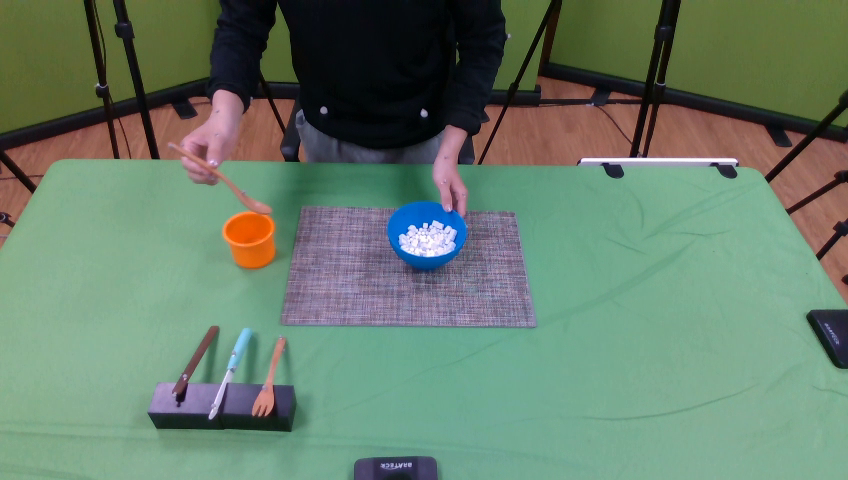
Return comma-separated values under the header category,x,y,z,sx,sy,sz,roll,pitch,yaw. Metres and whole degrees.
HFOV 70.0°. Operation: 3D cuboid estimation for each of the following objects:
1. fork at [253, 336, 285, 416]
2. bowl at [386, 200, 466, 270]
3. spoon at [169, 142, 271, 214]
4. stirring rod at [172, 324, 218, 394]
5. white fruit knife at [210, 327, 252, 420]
category,x,y,z,sx,sy,sz,roll,pitch,yaw
fork,-0.235,0.206,0.938,0.028,0.019,0.206,-2,26,-3
bowl,0.001,0.003,1.150,0.151,0.077,0.150,2,46,-2
spoon,-0.328,-0.100,0.986,0.021,0.195,0.041,-41,34,8
stirring rod,-0.361,0.185,0.962,0.014,0.006,0.175,2,26,0
white fruit knife,-0.298,0.200,0.937,0.016,0.027,0.206,0,30,0
